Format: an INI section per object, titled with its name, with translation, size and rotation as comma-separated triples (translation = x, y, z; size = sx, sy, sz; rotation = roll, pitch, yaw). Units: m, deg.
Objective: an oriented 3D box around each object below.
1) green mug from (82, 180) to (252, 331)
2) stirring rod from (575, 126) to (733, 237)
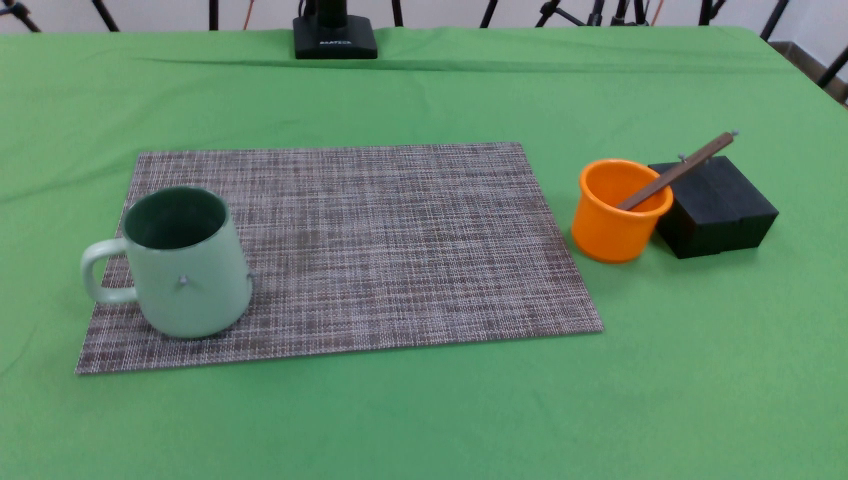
[green mug]
translation = -0.211, 0.018, 0.499
size = 0.125, 0.106, 0.091
rotation = -12, 47, -18
[stirring rod]
translation = 0.228, -0.057, 0.609
size = 0.176, 0.006, 0.014
rotation = -36, 49, 18
